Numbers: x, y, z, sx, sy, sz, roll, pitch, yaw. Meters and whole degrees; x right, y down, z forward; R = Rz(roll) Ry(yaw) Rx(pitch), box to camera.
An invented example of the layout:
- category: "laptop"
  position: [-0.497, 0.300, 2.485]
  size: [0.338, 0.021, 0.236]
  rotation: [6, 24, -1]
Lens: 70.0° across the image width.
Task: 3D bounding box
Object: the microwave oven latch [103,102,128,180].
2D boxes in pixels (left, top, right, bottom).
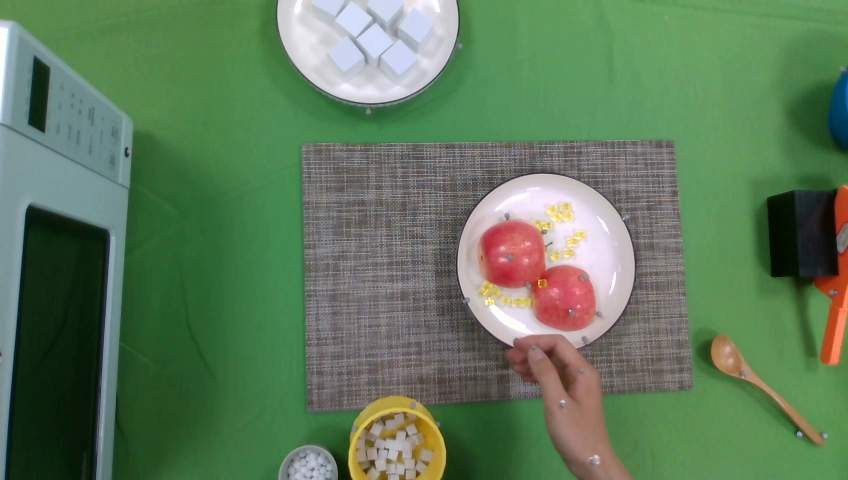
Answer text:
- category: "microwave oven latch"
  position: [-0.332, -0.104, 0.641]
  size: [0.030, 0.029, 0.079]
  rotation: [3, 85, -6]

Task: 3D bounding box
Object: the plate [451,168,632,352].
- category: "plate"
  position: [0.132, 0.023, 0.695]
  size: [0.209, 0.038, 0.208]
  rotation: [1, 85, -6]

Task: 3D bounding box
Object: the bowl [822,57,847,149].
- category: "bowl"
  position: [0.550, -0.162, 0.740]
  size: [0.151, 0.077, 0.151]
  rotation: [1, 85, -6]

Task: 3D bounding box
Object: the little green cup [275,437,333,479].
- category: "little green cup"
  position: [-0.126, 0.241, 0.650]
  size: [0.061, 0.038, 0.061]
  rotation: [0, 86, -4]

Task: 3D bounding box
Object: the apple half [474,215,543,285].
- category: "apple half"
  position: [0.096, 0.010, 0.676]
  size: [0.075, 0.053, 0.080]
  rotation: [-4, 86, -4]

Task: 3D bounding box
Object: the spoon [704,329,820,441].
- category: "spoon"
  position: [0.403, 0.177, 0.721]
  size: [0.194, 0.022, 0.041]
  rotation: [41, 65, -1]

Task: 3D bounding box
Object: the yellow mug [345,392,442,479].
- category: "yellow mug"
  position: [-0.036, 0.234, 0.646]
  size: [0.100, 0.064, 0.130]
  rotation: [11, 87, -6]

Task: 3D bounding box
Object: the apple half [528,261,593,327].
- category: "apple half"
  position: [0.158, 0.062, 0.688]
  size: [0.081, 0.033, 0.081]
  rotation: [1, 82, -5]

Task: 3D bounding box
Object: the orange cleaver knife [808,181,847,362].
- category: "orange cleaver knife"
  position: [0.480, 0.039, 0.712]
  size: [0.012, 0.076, 0.212]
  rotation: [0, 108, -2]

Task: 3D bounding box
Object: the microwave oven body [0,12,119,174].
- category: "microwave oven body"
  position: [-0.473, 0.058, 0.515]
  size: [0.327, 0.260, 0.440]
  rotation: [1, 85, -6]

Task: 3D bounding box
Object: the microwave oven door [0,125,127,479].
- category: "microwave oven door"
  position: [-0.328, 0.104, 0.521]
  size: [0.039, 0.244, 0.355]
  rotation: [1, 84, -5]

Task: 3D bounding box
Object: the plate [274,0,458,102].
- category: "plate"
  position: [-0.066, -0.258, 0.703]
  size: [0.208, 0.039, 0.207]
  rotation: [1, 85, -6]
